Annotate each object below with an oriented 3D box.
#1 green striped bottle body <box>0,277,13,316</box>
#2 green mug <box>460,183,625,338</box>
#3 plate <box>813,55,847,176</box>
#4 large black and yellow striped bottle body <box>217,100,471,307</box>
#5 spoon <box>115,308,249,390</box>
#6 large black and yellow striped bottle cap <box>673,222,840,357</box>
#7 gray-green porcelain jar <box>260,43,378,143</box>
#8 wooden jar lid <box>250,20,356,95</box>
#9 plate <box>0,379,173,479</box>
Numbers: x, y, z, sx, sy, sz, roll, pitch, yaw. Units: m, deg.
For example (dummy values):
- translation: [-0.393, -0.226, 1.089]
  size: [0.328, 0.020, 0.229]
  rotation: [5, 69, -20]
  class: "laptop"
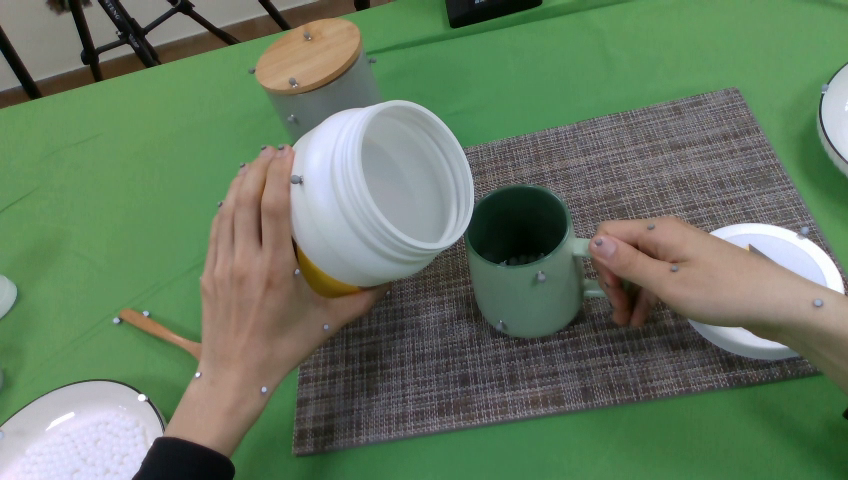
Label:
- translation: [-0.500, 0.039, 0.628]
  size: [0.063, 0.120, 0.062]
  rotation: [-8, 53, 11]
  class: "green striped bottle body"
- translation: [0.092, 0.019, 0.474]
  size: [0.125, 0.106, 0.092]
  rotation: [4, 56, 20]
  class: "green mug"
- translation: [0.439, -0.095, 0.502]
  size: [0.207, 0.039, 0.205]
  rotation: [-8, 53, 11]
  class: "plate"
- translation: [-0.065, -0.024, 0.478]
  size: [0.183, 0.132, 0.130]
  rotation: [-19, 43, 45]
  class: "large black and yellow striped bottle body"
- translation: [-0.234, 0.094, 0.572]
  size: [0.192, 0.022, 0.041]
  rotation: [17, 77, 26]
  class: "spoon"
- translation: [0.255, 0.035, 0.470]
  size: [0.115, 0.019, 0.114]
  rotation: [-9, 52, 12]
  class: "large black and yellow striped bottle cap"
- translation: [-0.099, -0.132, 0.630]
  size: [0.106, 0.128, 0.105]
  rotation: [-9, 49, 10]
  class: "gray-green porcelain jar"
- translation: [-0.114, -0.172, 0.583]
  size: [0.108, 0.021, 0.107]
  rotation: [-10, 51, 13]
  class: "wooden jar lid"
- translation: [-0.296, 0.216, 0.491]
  size: [0.209, 0.038, 0.207]
  rotation: [-8, 53, 11]
  class: "plate"
